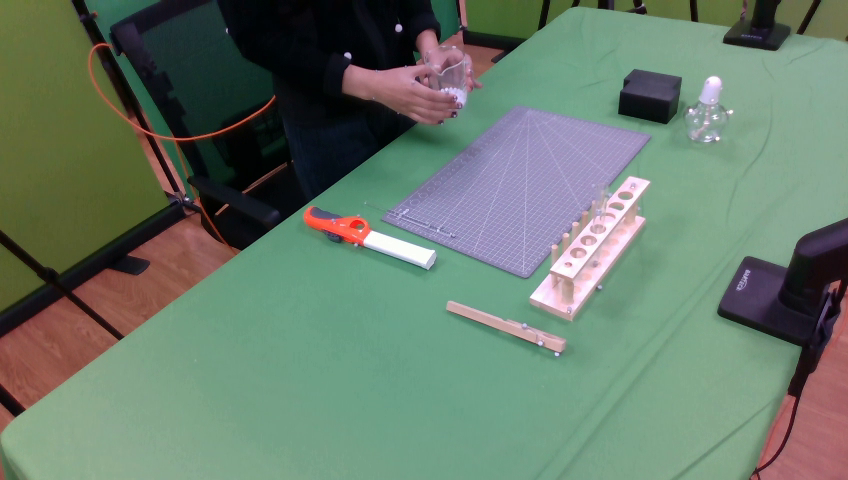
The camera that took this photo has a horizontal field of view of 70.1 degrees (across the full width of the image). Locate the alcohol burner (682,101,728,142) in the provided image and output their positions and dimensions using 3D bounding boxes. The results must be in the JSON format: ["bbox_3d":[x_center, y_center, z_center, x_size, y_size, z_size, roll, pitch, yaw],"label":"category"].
[{"bbox_3d":[0.513,-0.239,1.097,0.078,0.119,0.077,-4,40,4],"label":"alcohol burner"}]

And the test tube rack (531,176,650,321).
[{"bbox_3d":[0.246,0.002,0.884,0.066,0.085,0.243,22,49,32],"label":"test tube rack"}]

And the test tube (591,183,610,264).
[{"bbox_3d":[0.242,-0.019,0.832,0.017,0.151,0.017,-5,46,6],"label":"test tube"}]

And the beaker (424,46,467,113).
[{"bbox_3d":[0.041,-0.289,1.102,0.074,0.101,0.084,5,49,13],"label":"beaker"}]

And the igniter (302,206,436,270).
[{"bbox_3d":[-0.101,-0.007,1.004,0.274,0.025,0.057,20,58,29],"label":"igniter"}]

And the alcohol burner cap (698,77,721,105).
[{"bbox_3d":[0.509,-0.266,1.072,0.034,0.048,0.033,-4,48,5],"label":"alcohol burner cap"}]

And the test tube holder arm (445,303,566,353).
[{"bbox_3d":[0.107,0.117,0.824,0.177,0.015,0.013,16,11,27],"label":"test tube holder arm"}]

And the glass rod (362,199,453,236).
[{"bbox_3d":[-0.032,-0.041,1.041,0.198,0.008,0.008,22,50,31],"label":"glass rod"}]

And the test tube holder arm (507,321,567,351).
[{"bbox_3d":[0.148,0.128,0.808,0.087,0.015,0.010,16,11,28],"label":"test tube holder arm"}]
